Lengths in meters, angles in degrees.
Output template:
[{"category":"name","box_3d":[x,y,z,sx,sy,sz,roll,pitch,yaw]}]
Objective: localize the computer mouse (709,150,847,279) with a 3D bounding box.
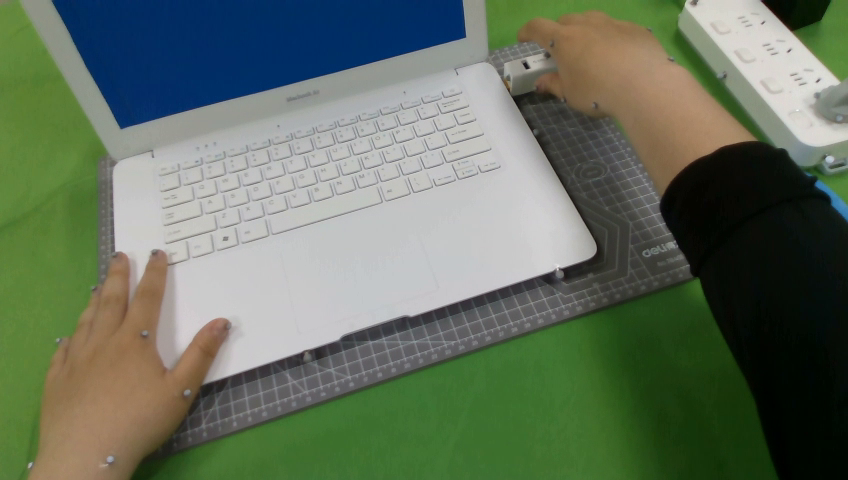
[{"category":"computer mouse","box_3d":[0.269,-0.026,0.451,0.063,0.041,0.116,-17,51,-5]}]

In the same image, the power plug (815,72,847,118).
[{"category":"power plug","box_3d":[0.351,-0.115,0.483,0.072,0.053,0.035,-6,58,1]}]

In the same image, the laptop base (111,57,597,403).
[{"category":"laptop base","box_3d":[-0.070,-0.028,0.495,0.355,0.023,0.233,-17,59,-7]}]

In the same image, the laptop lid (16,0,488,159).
[{"category":"laptop lid","box_3d":[-0.123,-0.203,0.478,0.357,0.244,0.013,-18,43,-6]}]

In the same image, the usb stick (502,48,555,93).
[{"category":"usb stick","box_3d":[0.088,-0.152,0.550,0.059,0.027,0.021,-19,53,-1]}]

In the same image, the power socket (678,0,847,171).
[{"category":"power socket","box_3d":[0.306,-0.154,0.539,0.072,0.033,0.224,-14,56,-4]}]
